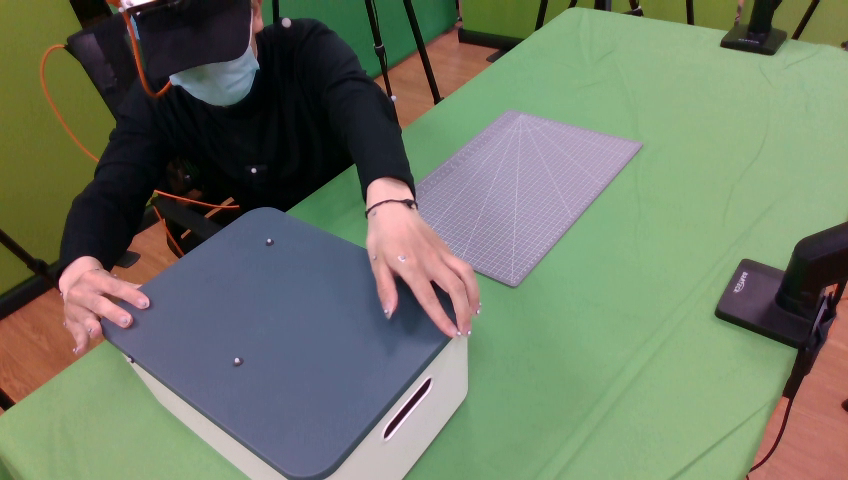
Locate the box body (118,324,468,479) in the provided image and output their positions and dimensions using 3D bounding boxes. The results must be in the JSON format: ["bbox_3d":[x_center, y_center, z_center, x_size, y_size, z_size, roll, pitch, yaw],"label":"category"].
[{"bbox_3d":[-0.152,0.140,0.721,0.361,0.161,0.255,22,49,30],"label":"box body"}]

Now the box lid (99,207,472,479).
[{"bbox_3d":[-0.161,0.083,0.674,0.368,0.015,0.264,22,48,31],"label":"box lid"}]
